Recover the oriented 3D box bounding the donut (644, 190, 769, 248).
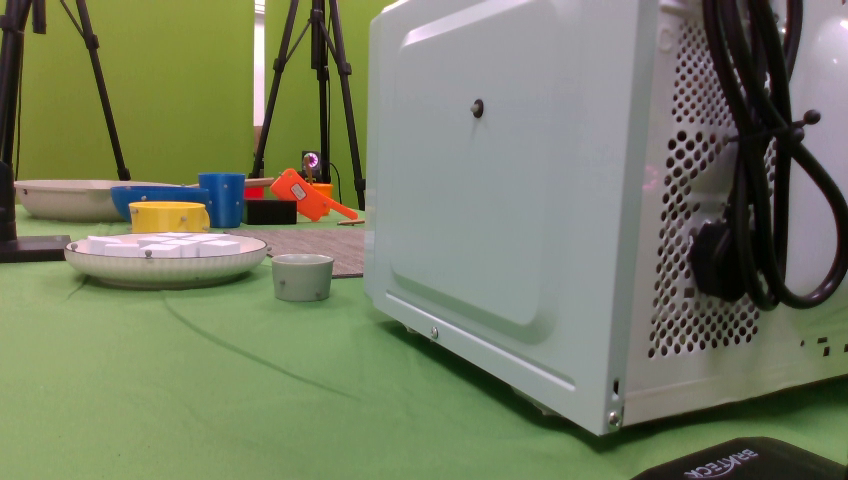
[{"bbox_3d":[0.239,-0.017,0.517,0.099,0.048,0.099,2,3,0],"label":"donut"}]

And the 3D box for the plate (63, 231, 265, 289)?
[{"bbox_3d":[-0.288,0.021,0.687,0.208,0.039,0.207,2,8,0],"label":"plate"}]

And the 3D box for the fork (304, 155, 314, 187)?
[{"bbox_3d":[-0.268,-0.134,1.447,0.028,0.018,0.207,2,-36,-1],"label":"fork"}]

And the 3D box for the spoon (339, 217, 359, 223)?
[{"bbox_3d":[-0.087,-0.041,1.268,0.193,0.021,0.041,4,24,13],"label":"spoon"}]

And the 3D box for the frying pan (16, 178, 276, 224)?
[{"bbox_3d":[-0.554,-0.096,1.266,0.490,0.102,0.305,-10,13,-24],"label":"frying pan"}]

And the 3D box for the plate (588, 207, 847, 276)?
[{"bbox_3d":[0.245,-0.001,0.511,0.209,0.038,0.209,2,7,0],"label":"plate"}]

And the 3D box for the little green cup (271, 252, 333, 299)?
[{"bbox_3d":[-0.122,0.035,0.605,0.061,0.038,0.061,3,6,0],"label":"little green cup"}]

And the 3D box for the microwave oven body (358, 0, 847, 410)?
[{"bbox_3d":[0.210,-0.051,0.471,0.444,0.260,0.324,-1,7,-28],"label":"microwave oven body"}]

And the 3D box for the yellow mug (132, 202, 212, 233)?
[{"bbox_3d":[-0.356,-0.020,0.878,0.099,0.064,0.131,5,7,21],"label":"yellow mug"}]

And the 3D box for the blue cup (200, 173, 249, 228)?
[{"bbox_3d":[-0.381,-0.076,1.155,0.093,0.100,0.092,0,8,0],"label":"blue cup"}]

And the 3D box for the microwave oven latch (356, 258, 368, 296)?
[{"bbox_3d":[-0.019,0.031,0.528,0.079,0.029,0.030,-1,7,-24],"label":"microwave oven latch"}]

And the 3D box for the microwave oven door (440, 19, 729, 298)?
[{"bbox_3d":[0.181,-0.076,0.618,0.358,0.243,0.039,-2,8,-28],"label":"microwave oven door"}]

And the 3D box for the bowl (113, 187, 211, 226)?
[{"bbox_3d":[-0.436,-0.046,1.013,0.151,0.077,0.151,2,7,0],"label":"bowl"}]

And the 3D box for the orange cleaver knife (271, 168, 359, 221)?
[{"bbox_3d":[-0.236,-0.084,1.333,0.212,0.077,0.012,31,-10,-32],"label":"orange cleaver knife"}]
